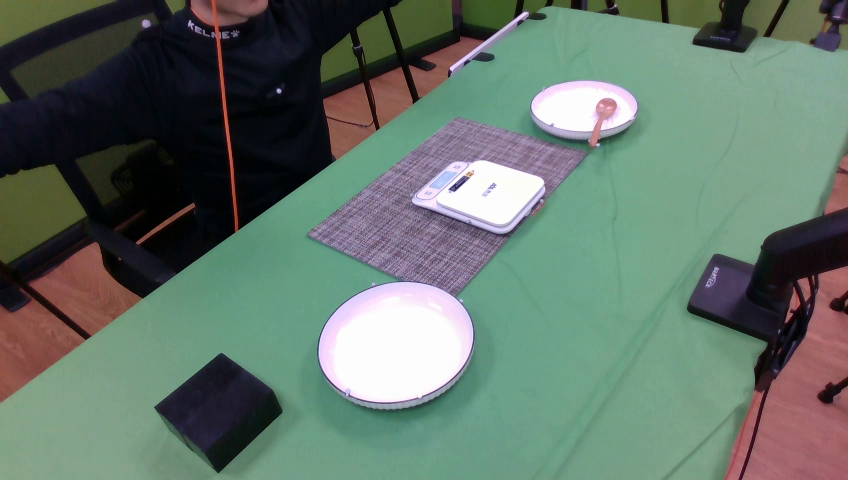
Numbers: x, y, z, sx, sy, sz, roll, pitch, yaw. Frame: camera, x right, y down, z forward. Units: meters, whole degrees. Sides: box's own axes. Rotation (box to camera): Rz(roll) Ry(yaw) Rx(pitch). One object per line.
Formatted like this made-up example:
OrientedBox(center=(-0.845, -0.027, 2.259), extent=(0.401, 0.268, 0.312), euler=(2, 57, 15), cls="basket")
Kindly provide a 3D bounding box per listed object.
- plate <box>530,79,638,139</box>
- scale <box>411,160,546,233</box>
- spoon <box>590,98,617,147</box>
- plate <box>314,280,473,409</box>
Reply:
OrientedBox(center=(0.317, -0.257, 1.209), extent=(0.209, 0.038, 0.208), euler=(-4, 41, 4), cls="plate")
OrientedBox(center=(0.092, -0.083, 1.039), extent=(0.199, 0.032, 0.149), euler=(22, 48, 30), cls="scale")
OrientedBox(center=(0.334, -0.225, 1.145), extent=(0.041, 0.022, 0.194), euler=(11, 37, 20), cls="spoon")
OrientedBox(center=(-0.039, 0.139, 0.801), extent=(0.207, 0.039, 0.206), euler=(-4, 41, 4), cls="plate")
